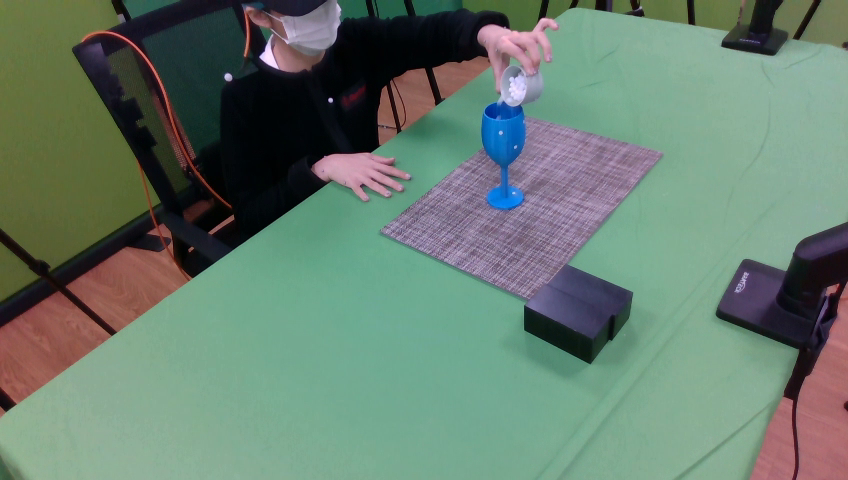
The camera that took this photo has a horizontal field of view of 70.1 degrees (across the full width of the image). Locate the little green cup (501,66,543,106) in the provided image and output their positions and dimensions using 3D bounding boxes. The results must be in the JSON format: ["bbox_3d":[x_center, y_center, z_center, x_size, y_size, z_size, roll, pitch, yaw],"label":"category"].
[{"bbox_3d":[0.151,-0.238,0.929,0.039,0.061,0.061,-14,38,-32],"label":"little green cup"}]

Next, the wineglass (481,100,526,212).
[{"bbox_3d":[0.132,-0.137,0.993,0.074,0.173,0.073,-4,40,4],"label":"wineglass"}]
